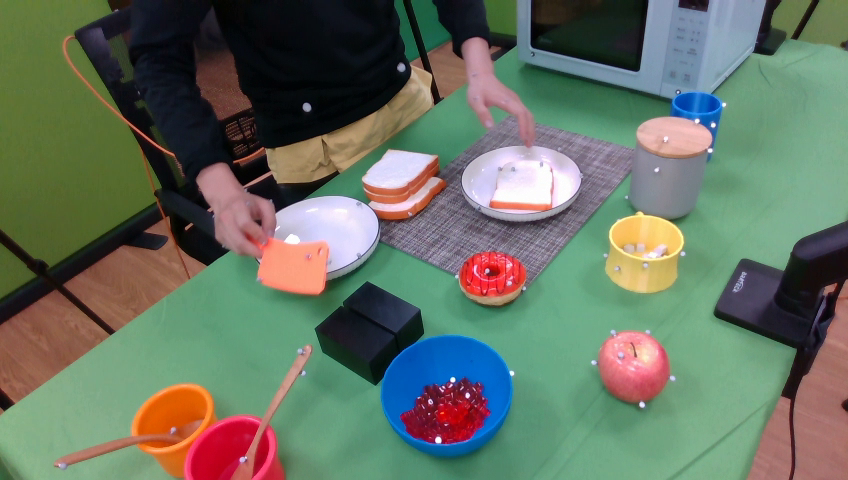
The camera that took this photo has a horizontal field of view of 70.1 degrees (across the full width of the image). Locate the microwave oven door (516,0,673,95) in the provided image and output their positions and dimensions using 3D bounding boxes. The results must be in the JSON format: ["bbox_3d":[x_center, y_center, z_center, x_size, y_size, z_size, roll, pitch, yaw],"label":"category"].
[{"bbox_3d":[0.344,-0.458,1.257,0.353,0.245,0.039,26,52,33],"label":"microwave oven door"}]

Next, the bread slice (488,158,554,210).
[{"bbox_3d":[0.172,-0.100,1.048,0.104,0.019,0.131,5,43,13],"label":"bread slice"}]

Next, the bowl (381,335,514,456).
[{"bbox_3d":[0.029,0.192,0.701,0.151,0.077,0.150,-4,40,4],"label":"bowl"}]

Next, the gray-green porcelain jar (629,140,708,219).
[{"bbox_3d":[0.383,-0.105,0.958,0.106,0.127,0.105,-4,41,4],"label":"gray-green porcelain jar"}]

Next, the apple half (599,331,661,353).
[{"bbox_3d":[0.249,0.134,0.738,0.081,0.081,0.032,-1,46,7],"label":"apple half"}]

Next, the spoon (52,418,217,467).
[{"bbox_3d":[-0.308,0.220,0.663,0.041,0.195,0.021,21,93,29],"label":"spoon"}]

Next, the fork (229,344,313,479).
[{"bbox_3d":[-0.173,0.205,0.662,0.028,0.019,0.207,29,94,36],"label":"fork"}]

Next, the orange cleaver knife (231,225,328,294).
[{"bbox_3d":[-0.204,0.023,0.824,0.209,0.012,0.077,13,84,37],"label":"orange cleaver knife"}]

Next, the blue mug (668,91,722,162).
[{"bbox_3d":[0.475,-0.207,1.079,0.082,0.106,0.116,4,42,13],"label":"blue mug"}]

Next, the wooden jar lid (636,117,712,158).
[{"bbox_3d":[0.377,-0.151,0.917,0.108,0.021,0.108,-2,41,2],"label":"wooden jar lid"}]

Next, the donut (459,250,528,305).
[{"bbox_3d":[0.100,0.053,0.872,0.099,0.048,0.098,-4,40,4],"label":"donut"}]

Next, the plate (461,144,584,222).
[{"bbox_3d":[0.168,-0.095,1.040,0.207,0.039,0.206,-4,40,4],"label":"plate"}]

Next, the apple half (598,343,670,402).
[{"bbox_3d":[0.247,0.161,0.710,0.081,0.075,0.053,2,47,5],"label":"apple half"}]

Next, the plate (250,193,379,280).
[{"bbox_3d":[-0.174,-0.001,0.984,0.209,0.038,0.208,-3,40,3],"label":"plate"}]

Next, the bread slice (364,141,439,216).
[{"bbox_3d":[-0.048,-0.106,1.038,0.106,0.018,0.134,18,74,22],"label":"bread slice"}]

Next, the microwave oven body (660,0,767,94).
[{"bbox_3d":[0.473,-0.517,1.313,0.438,0.261,0.327,26,51,34],"label":"microwave oven body"}]

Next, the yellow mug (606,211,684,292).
[{"bbox_3d":[0.318,0.008,0.883,0.100,0.064,0.130,0,40,9],"label":"yellow mug"}]

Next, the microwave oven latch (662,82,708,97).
[{"bbox_3d":[0.517,-0.298,1.203,0.078,0.029,0.030,28,53,35],"label":"microwave oven latch"}]
